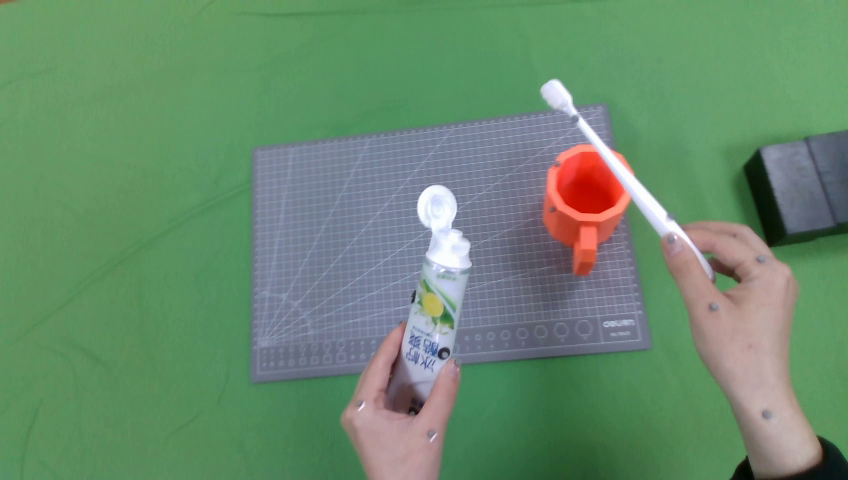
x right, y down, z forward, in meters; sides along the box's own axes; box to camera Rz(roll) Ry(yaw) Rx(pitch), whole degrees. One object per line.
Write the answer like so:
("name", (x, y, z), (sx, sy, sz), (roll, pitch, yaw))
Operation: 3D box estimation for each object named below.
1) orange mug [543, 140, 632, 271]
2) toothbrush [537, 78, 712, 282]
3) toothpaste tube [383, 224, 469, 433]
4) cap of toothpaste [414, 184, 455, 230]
("orange mug", (0.173, -0.033, 0.653), (0.083, 0.101, 0.125), (2, 70, 9))
("toothbrush", (0.139, -0.044, 0.425), (0.181, 0.017, 0.014), (53, 126, 8))
("toothpaste tube", (0.003, 0.066, 0.460), (0.054, 0.034, 0.165), (22, 110, 32))
("cap of toothpaste", (0.010, -0.024, 0.450), (0.037, 0.011, 0.037), (-1, 93, -32))
